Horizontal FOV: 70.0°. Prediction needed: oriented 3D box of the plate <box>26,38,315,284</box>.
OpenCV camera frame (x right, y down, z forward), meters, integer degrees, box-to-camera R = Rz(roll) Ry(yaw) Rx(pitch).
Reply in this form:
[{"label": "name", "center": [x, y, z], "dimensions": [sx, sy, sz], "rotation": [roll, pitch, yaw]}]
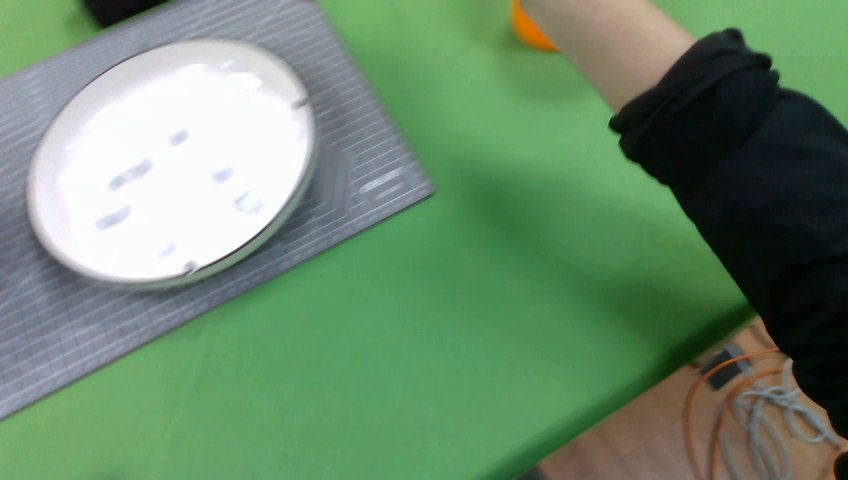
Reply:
[{"label": "plate", "center": [-0.181, -0.059, 0.449], "dimensions": [0.209, 0.038, 0.207], "rotation": [-1, 64, 3]}]
